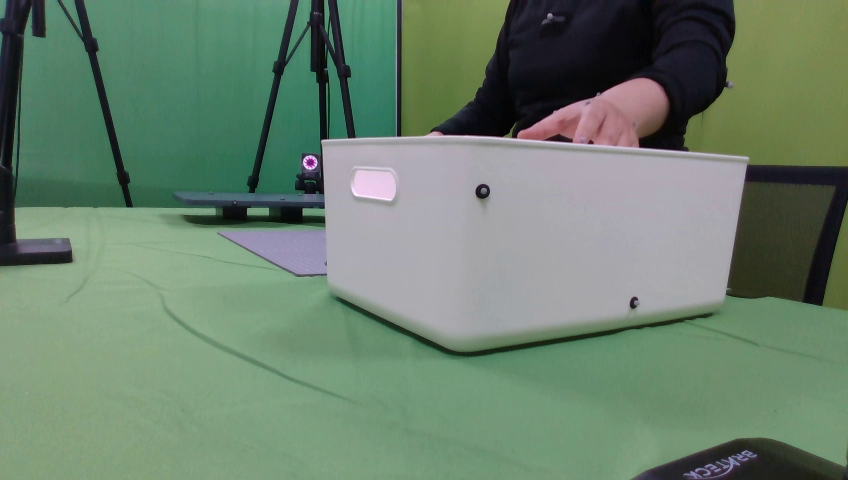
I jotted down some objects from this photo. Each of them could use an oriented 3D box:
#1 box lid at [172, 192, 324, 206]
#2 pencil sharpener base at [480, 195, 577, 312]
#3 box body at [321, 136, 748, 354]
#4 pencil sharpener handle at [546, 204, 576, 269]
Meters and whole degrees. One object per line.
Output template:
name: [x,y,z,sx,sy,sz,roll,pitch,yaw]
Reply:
box lid: [-0.355,-0.091,1.350,0.373,0.015,0.262,-1,8,-29]
pencil sharpener base: [0.103,0.011,0.590,0.077,0.107,0.061,-1,6,-33]
box body: [0.105,-0.011,0.604,0.366,0.160,0.253,-2,8,-33]
pencil sharpener handle: [0.145,-0.003,0.619,0.031,0.067,0.036,-1,18,-33]
